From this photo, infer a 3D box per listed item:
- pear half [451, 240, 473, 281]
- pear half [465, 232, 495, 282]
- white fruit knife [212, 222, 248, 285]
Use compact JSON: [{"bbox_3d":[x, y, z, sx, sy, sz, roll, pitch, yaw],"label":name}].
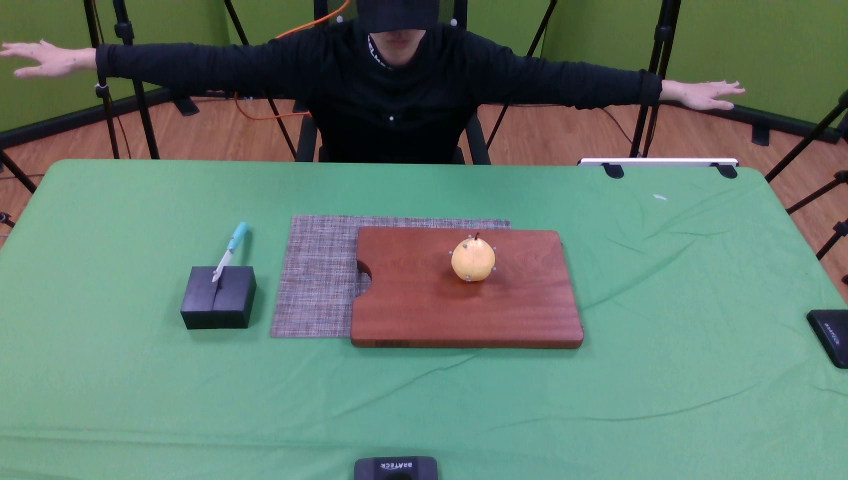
[{"bbox_3d":[0.065,0.036,1.085,0.031,0.088,0.070,-11,50,-14],"label":"pear half"},{"bbox_3d":[0.100,0.024,1.085,0.056,0.110,0.076,-11,51,-15],"label":"pear half"},{"bbox_3d":[-0.355,0.020,1.111,0.016,0.027,0.206,0,30,0],"label":"white fruit knife"}]
